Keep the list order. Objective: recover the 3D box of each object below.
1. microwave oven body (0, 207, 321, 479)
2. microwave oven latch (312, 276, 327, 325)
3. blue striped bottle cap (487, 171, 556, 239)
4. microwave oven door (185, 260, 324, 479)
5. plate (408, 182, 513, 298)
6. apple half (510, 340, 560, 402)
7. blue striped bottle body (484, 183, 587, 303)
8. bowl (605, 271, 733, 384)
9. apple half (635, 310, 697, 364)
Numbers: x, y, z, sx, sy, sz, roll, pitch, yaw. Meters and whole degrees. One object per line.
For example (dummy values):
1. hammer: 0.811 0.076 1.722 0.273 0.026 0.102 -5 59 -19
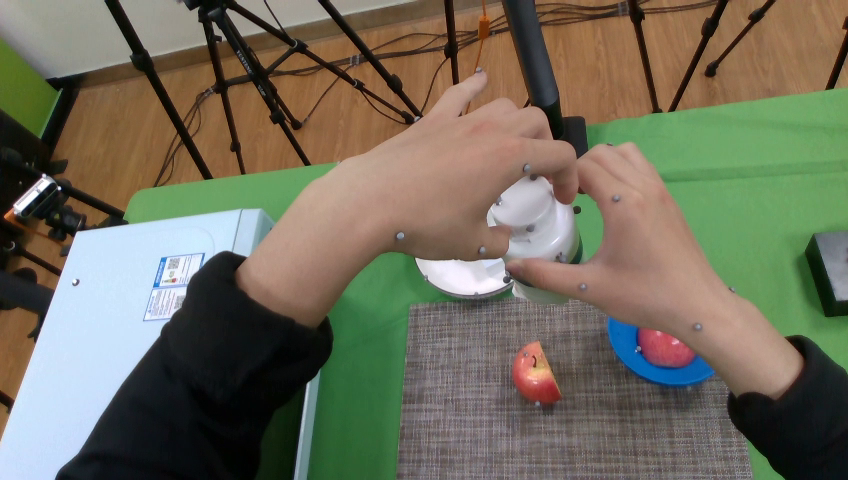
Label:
1. microwave oven body: -0.348 0.218 0.841 0.325 0.263 0.437 -6 59 14
2. microwave oven latch: -0.174 0.097 0.974 0.030 0.030 0.078 -7 59 13
3. blue striped bottle cap: 0.065 -0.024 0.408 0.044 0.021 0.044 -12 57 19
4. microwave oven door: -0.210 0.234 0.780 0.039 0.246 0.352 -7 59 14
5. plate: 0.078 0.002 0.971 0.207 0.039 0.206 -8 59 13
6. apple half: 0.145 0.182 0.816 0.053 0.075 0.080 -24 60 8
7. blue striped bottle body: 0.084 -0.001 0.454 0.063 0.122 0.062 -9 62 18
8. bowl: 0.315 0.124 0.792 0.151 0.077 0.150 -8 58 14
9. apple half: 0.315 0.122 0.787 0.081 0.033 0.080 -9 57 14
